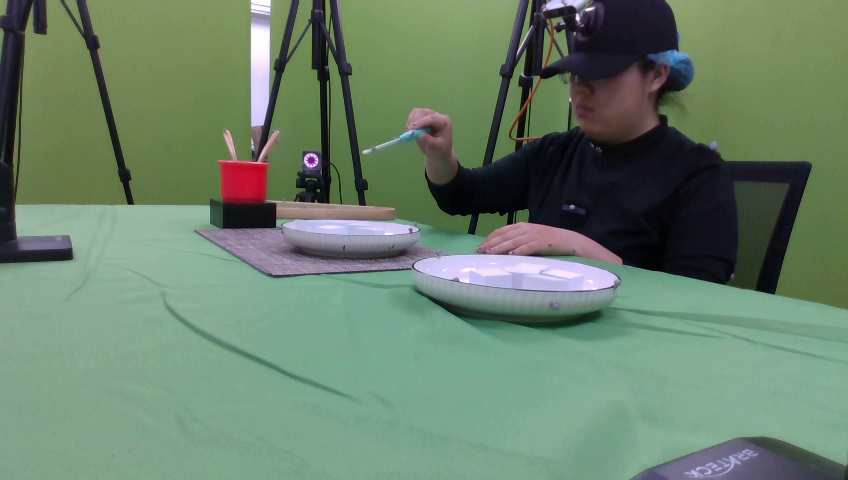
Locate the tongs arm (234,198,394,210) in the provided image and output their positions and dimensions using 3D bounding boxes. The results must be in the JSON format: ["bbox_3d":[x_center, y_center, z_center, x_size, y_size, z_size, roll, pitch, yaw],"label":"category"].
[{"bbox_3d":[-0.263,-0.076,1.460,0.386,0.026,0.050,3,8,-8],"label":"tongs arm"}]

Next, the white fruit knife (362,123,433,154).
[{"bbox_3d":[-0.039,-0.166,0.996,0.027,0.016,0.208,-27,5,37],"label":"white fruit knife"}]

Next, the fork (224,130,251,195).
[{"bbox_3d":[-0.372,-0.155,1.193,0.028,0.018,0.206,-17,54,-13],"label":"fork"}]

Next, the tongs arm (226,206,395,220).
[{"bbox_3d":[-0.248,-0.061,1.382,0.389,0.028,0.028,0,6,-21],"label":"tongs arm"}]

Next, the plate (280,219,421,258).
[{"bbox_3d":[-0.108,-0.002,0.902,0.208,0.039,0.207,3,7,0],"label":"plate"}]

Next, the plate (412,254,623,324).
[{"bbox_3d":[0.091,0.047,0.609,0.209,0.038,0.209,2,7,0],"label":"plate"}]

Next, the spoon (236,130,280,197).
[{"bbox_3d":[-0.321,-0.154,1.192,0.041,0.193,0.022,0,-37,19],"label":"spoon"}]
